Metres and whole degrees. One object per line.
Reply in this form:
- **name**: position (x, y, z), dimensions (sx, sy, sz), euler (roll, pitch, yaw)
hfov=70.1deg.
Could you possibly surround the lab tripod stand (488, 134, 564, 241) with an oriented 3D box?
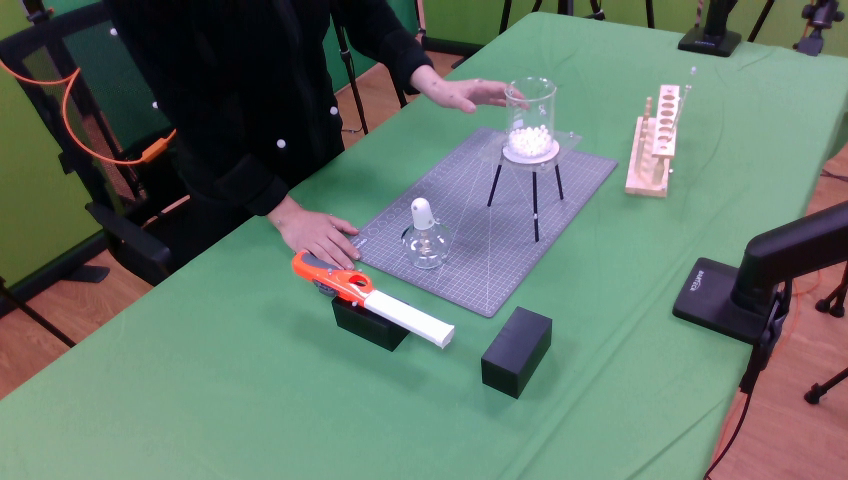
- **lab tripod stand**: position (0.168, -0.092, 0.972), dimensions (0.148, 0.132, 0.147), euler (-5, 41, 5)

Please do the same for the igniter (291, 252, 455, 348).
- **igniter**: position (-0.080, 0.076, 0.822), dimensions (0.274, 0.025, 0.057), euler (23, 45, 27)

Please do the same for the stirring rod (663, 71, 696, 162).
- **stirring rod**: position (0.410, -0.195, 0.981), dimensions (0.014, 0.177, 0.006), euler (11, 50, 13)

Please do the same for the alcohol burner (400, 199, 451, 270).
- **alcohol burner**: position (0.000, -0.013, 0.917), dimensions (0.078, 0.119, 0.077), euler (-5, 41, 5)

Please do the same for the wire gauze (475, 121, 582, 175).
- **wire gauze**: position (0.161, -0.142, 0.929), dimensions (0.120, 0.011, 0.125), euler (19, 49, 32)

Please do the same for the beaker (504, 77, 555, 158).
- **beaker**: position (0.160, -0.181, 0.900), dimensions (0.084, 0.101, 0.073), euler (-33, 46, -27)

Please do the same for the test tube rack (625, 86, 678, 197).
- **test tube rack**: position (0.412, -0.184, 1.088), dimensions (0.066, 0.085, 0.242), euler (9, 43, 18)

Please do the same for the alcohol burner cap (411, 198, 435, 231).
- **alcohol burner cap**: position (-0.003, -0.040, 0.893), dimensions (0.034, 0.048, 0.033), euler (-7, 41, 7)
